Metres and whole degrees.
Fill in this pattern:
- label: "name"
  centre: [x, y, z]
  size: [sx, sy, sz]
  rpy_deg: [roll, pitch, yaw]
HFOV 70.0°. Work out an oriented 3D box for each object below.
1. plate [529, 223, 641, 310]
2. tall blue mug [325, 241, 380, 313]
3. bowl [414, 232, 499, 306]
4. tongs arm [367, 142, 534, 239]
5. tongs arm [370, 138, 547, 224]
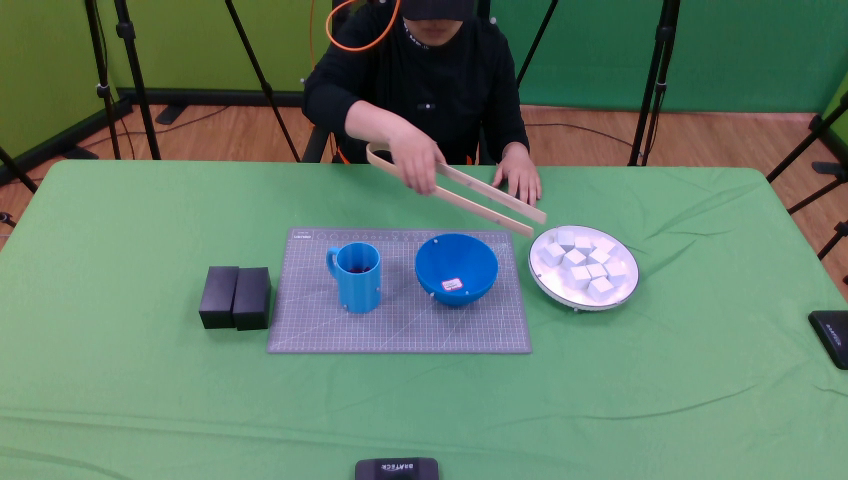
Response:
- label: "plate"
  centre: [0.303, 0.053, 1.156]
  size: [0.209, 0.038, 0.208]
  rpy_deg: [2, 46, -2]
- label: "tall blue mug"
  centre: [-0.130, 0.063, 1.062]
  size: [0.107, 0.108, 0.077]
  rpy_deg: [9, 47, 5]
- label: "bowl"
  centre: [0.056, 0.066, 1.095]
  size: [0.151, 0.077, 0.150]
  rpy_deg: [2, 47, -2]
- label: "tongs arm"
  centre: [0.035, -0.096, 1.126]
  size: [0.386, 0.028, 0.028]
  rpy_deg: [29, 54, 25]
- label: "tongs arm"
  centre: [0.054, -0.113, 1.145]
  size: [0.383, 0.026, 0.050]
  rpy_deg: [30, 51, 26]
